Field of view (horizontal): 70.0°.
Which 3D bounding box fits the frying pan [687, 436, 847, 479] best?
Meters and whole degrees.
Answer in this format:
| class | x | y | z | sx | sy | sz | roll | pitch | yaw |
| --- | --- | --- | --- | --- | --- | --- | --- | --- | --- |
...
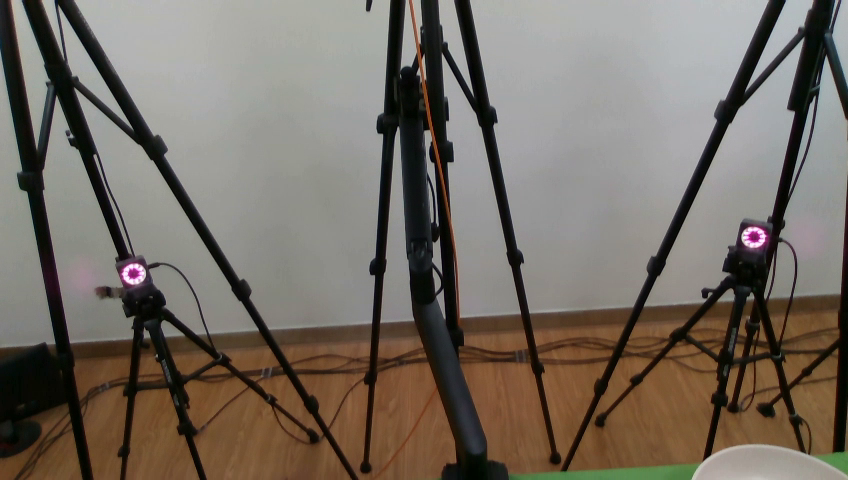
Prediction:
| class | x | y | z | sx | sy | sz | roll | pitch | yaw |
| --- | --- | --- | --- | --- | --- | --- | --- | --- | --- |
| frying pan | 0.545 | 0.479 | 0.840 | 0.306 | 0.103 | 0.485 | -2 | 23 | 7 |
